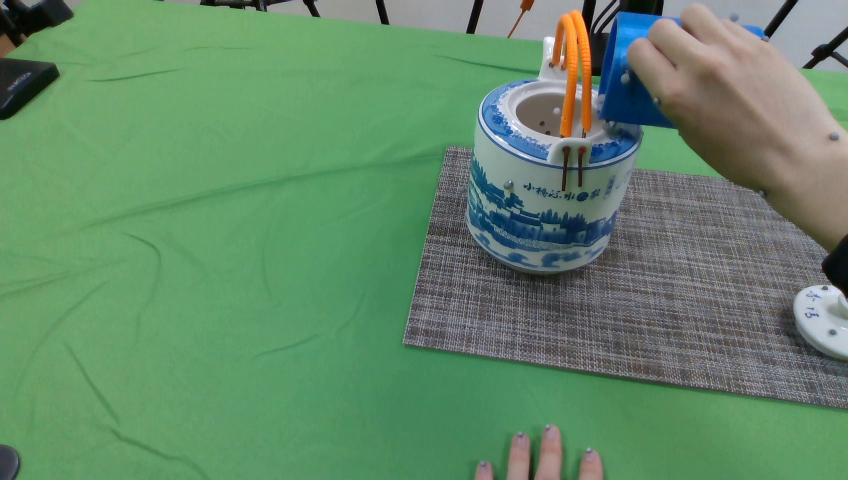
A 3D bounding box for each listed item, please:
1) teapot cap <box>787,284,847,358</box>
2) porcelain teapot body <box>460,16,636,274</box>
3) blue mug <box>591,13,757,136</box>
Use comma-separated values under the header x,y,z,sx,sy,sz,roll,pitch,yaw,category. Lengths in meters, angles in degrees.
x,y,z,sx,sy,sz,roll,pitch,yaw,category
0.369,0.066,0.536,0.085,0.044,0.084,4,43,-3,teapot cap
0.112,-0.106,0.567,0.145,0.227,0.203,2,44,-1,porcelain teapot body
0.187,-0.126,0.458,0.105,0.082,0.116,9,13,8,blue mug
